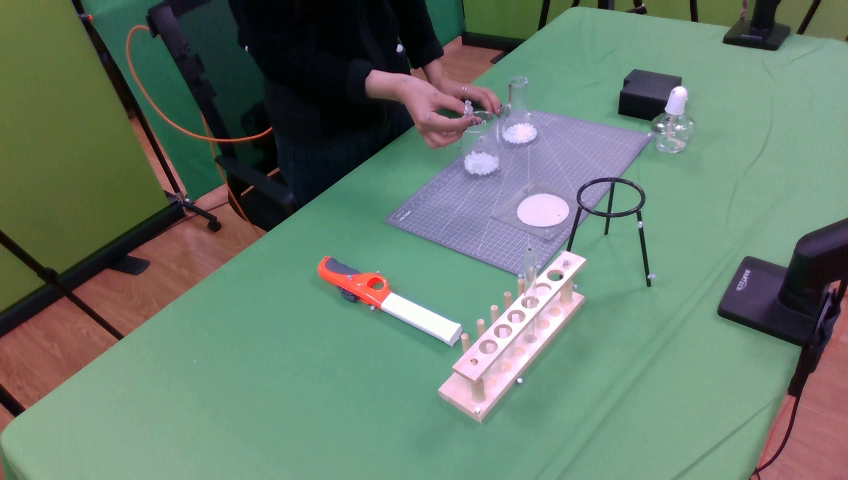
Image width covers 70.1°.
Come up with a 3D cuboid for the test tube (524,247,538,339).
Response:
[{"bbox_3d":[0.133,0.070,0.749,0.017,0.151,0.017,-5,38,4],"label":"test tube"}]

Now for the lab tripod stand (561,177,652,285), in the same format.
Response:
[{"bbox_3d":[0.263,-0.014,0.864,0.148,0.132,0.147,-7,38,6],"label":"lab tripod stand"}]

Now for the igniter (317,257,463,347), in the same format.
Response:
[{"bbox_3d":[-0.061,0.086,0.891,0.274,0.025,0.057,23,59,33],"label":"igniter"}]

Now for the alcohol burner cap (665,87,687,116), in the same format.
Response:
[{"bbox_3d":[0.445,-0.244,1.060,0.034,0.048,0.033,-2,45,3],"label":"alcohol burner cap"}]

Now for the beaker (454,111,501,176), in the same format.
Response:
[{"bbox_3d":[0.101,-0.174,1.106,0.084,0.101,0.073,-5,40,6],"label":"beaker"}]

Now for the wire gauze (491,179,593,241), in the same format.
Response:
[{"bbox_3d":[0.198,-0.051,1.014,0.125,0.011,0.120,-38,48,-27],"label":"wire gauze"}]

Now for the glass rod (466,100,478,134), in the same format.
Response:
[{"bbox_3d":[0.082,-0.207,1.027,0.008,0.200,0.008,0,86,9],"label":"glass rod"}]

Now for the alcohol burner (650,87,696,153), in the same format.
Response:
[{"bbox_3d":[0.448,-0.217,1.084,0.078,0.119,0.077,-6,38,5],"label":"alcohol burner"}]

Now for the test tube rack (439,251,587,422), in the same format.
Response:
[{"bbox_3d":[0.118,0.111,0.780,0.066,0.085,0.243,26,51,34],"label":"test tube rack"}]

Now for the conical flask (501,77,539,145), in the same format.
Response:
[{"bbox_3d":[0.183,-0.250,1.163,0.075,0.122,0.075,-6,40,5],"label":"conical flask"}]
